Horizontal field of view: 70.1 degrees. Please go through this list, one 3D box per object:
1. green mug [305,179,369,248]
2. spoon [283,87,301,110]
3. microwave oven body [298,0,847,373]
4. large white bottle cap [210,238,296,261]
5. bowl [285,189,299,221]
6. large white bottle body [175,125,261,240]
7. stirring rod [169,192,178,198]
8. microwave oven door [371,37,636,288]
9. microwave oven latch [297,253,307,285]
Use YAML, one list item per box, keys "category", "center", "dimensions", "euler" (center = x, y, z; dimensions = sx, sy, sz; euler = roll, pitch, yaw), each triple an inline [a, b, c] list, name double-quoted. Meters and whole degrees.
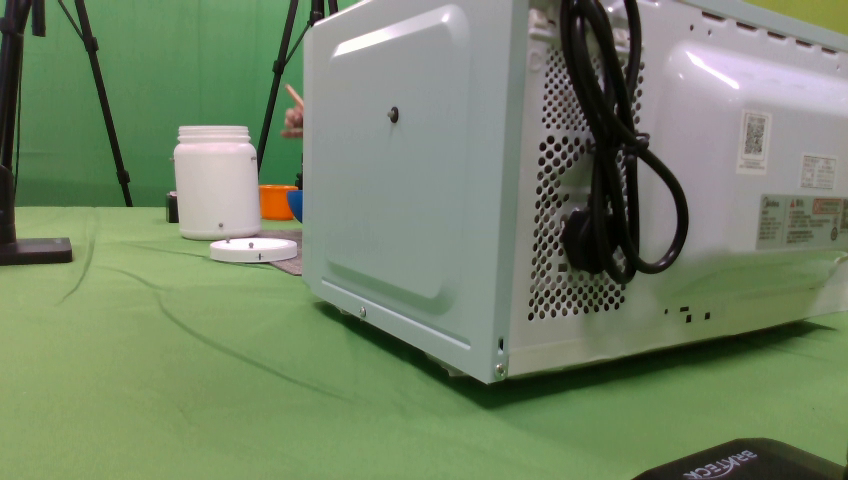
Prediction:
- category: "green mug"
  center: [-0.133, -0.044, 0.977]
  dimensions: [0.092, 0.105, 0.126]
  euler: [6, 8, 32]
- category: "spoon"
  center: [-0.206, -0.213, 1.080]
  dimensions: [0.042, 0.021, 0.193]
  euler: [7, 45, -53]
- category: "microwave oven body"
  center: [0.151, -0.055, 0.542]
  dimensions: [0.444, 0.260, 0.324]
  euler: [-2, 7, -33]
- category: "large white bottle cap"
  center: [-0.236, 0.012, 0.839]
  dimensions: [0.115, 0.018, 0.115]
  euler: [1, 7, 0]
- category: "bowl"
  center: [-0.180, -0.050, 1.113]
  dimensions: [0.151, 0.077, 0.151]
  euler: [3, 8, 0]
- category: "large white bottle body"
  center: [-0.349, -0.100, 1.025]
  dimensions: [0.131, 0.184, 0.130]
  euler: [-1, 9, 0]
- category: "stirring rod"
  center: [-0.465, -0.098, 1.283]
  dimensions: [0.014, 0.006, 0.177]
  euler: [42, 21, 17]
- category: "microwave oven door"
  center: [0.109, -0.080, 0.686]
  dimensions: [0.358, 0.243, 0.039]
  euler: [-2, 9, -33]
- category: "microwave oven latch"
  center: [-0.082, 0.027, 0.582]
  dimensions: [0.079, 0.029, 0.030]
  euler: [-1, 7, -32]
